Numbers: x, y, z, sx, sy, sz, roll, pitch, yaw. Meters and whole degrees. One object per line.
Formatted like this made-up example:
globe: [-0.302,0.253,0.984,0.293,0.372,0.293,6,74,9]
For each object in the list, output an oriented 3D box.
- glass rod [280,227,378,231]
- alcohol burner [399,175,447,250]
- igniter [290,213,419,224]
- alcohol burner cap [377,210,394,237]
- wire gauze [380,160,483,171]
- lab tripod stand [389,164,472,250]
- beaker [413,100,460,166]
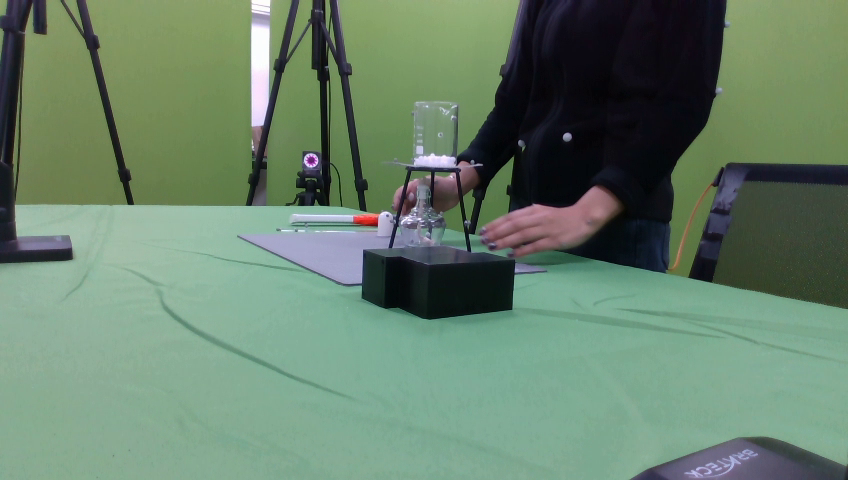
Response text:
glass rod: [-0.175,-0.021,1.161,0.200,0.008,0.008,0,7,-15]
alcohol burner: [-0.001,-0.044,0.961,0.078,0.119,0.078,0,8,0]
igniter: [-0.143,-0.046,1.288,0.278,0.025,0.057,-1,-3,-24]
alcohol burner cap: [-0.069,-0.031,1.112,0.034,0.048,0.034,2,9,0]
wire gauze: [0.011,-0.119,0.951,0.122,0.011,0.124,-5,12,-32]
lab tripod stand: [0.010,-0.054,0.961,0.148,0.131,0.148,2,9,0]
beaker: [0.020,-0.167,0.953,0.073,0.100,0.084,5,9,26]
